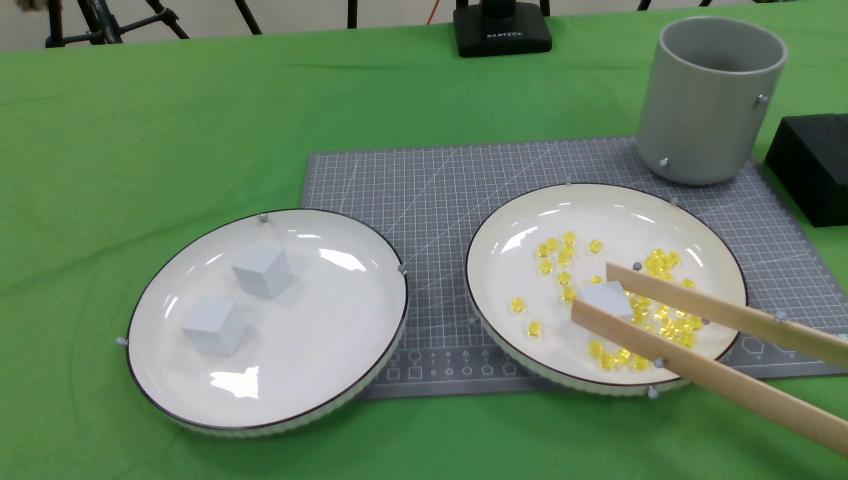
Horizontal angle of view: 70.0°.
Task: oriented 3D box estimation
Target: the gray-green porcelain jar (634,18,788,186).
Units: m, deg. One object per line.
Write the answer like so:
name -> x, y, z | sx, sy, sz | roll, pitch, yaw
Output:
gray-green porcelain jar -> 0.256, -0.122, 0.560 | 0.106, 0.128, 0.105 | -2, 45, 2

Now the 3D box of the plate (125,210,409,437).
plate -> -0.114, 0.059, 0.465 | 0.209, 0.038, 0.207 | -3, 45, 3

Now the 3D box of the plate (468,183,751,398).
plate -> 0.138, 0.036, 0.473 | 0.207, 0.039, 0.205 | -2, 45, 2

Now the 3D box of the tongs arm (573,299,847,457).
tongs arm -> 0.253, 0.110, 0.321 | 0.384, 0.028, 0.028 | 23, 46, 34

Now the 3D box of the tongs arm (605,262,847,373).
tongs arm -> 0.273, 0.093, 0.336 | 0.381, 0.027, 0.050 | 20, 48, 33
